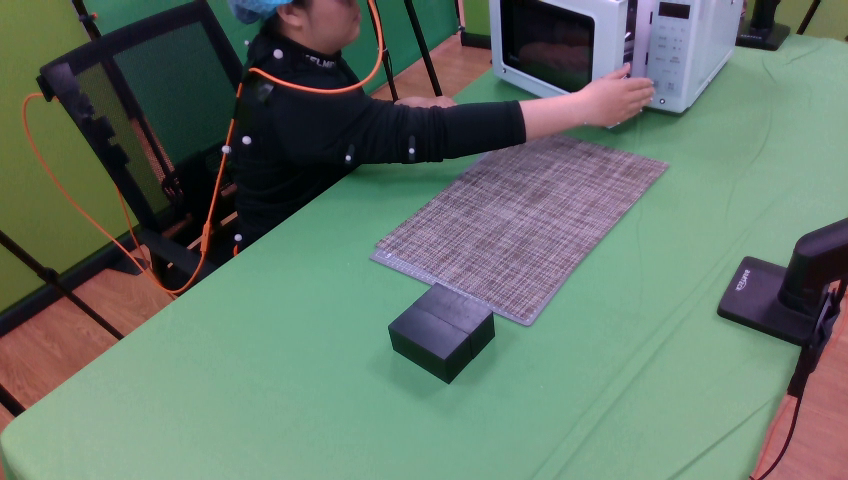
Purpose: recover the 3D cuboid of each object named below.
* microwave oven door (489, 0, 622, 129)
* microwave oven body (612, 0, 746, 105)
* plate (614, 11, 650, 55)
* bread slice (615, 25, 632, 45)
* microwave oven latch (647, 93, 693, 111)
[{"bbox_3d":[0.254,-0.393,1.204,0.039,0.245,0.352,-29,44,-21],"label":"microwave oven door"},{"bbox_3d":[0.416,-0.486,1.290,0.438,0.261,0.327,21,50,33],"label":"microwave oven body"},{"bbox_3d":[0.390,-0.454,1.339,0.209,0.038,0.208,-5,39,5],"label":"plate"},{"bbox_3d":[0.394,-0.452,1.344,0.105,0.019,0.130,-37,41,-26],"label":"bread slice"},{"bbox_3d":[0.478,-0.273,1.177,0.078,0.029,0.030,23,51,34],"label":"microwave oven latch"}]
